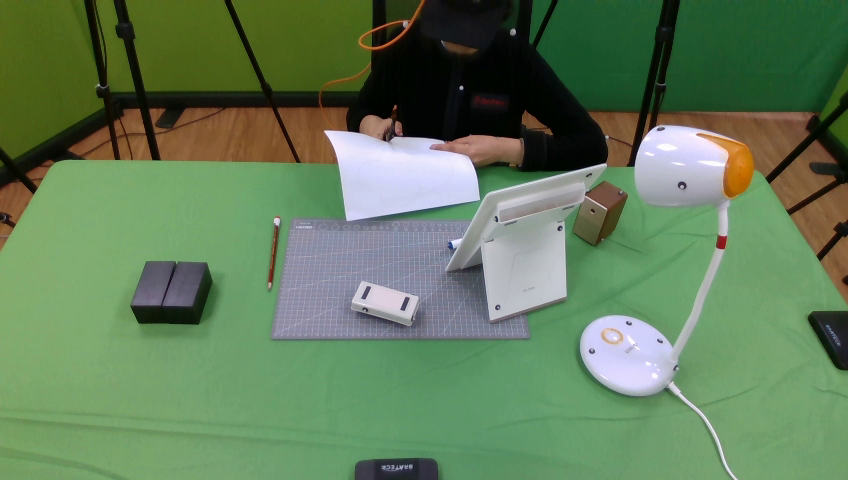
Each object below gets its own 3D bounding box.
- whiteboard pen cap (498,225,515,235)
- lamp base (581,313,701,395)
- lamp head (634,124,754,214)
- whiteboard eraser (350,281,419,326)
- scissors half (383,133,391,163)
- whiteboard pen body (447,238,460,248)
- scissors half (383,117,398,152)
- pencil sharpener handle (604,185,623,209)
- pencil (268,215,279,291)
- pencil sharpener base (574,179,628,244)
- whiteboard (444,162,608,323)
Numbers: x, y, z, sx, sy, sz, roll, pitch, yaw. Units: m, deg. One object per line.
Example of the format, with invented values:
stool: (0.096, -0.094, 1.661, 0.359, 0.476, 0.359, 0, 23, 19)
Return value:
whiteboard pen cap: (0.166, -0.019, 1.222, 0.033, 0.018, 0.018, -15, 49, -19)
lamp base: (0.361, 0.144, 0.972, 0.178, 0.181, 0.160, 34, 53, 23)
lamp head: (0.351, -0.089, 0.775, 0.112, 0.113, 0.122, -30, 30, -28)
whiteboard eraser: (-0.069, 0.113, 1.065, 0.112, 0.042, 0.055, 14, 46, 9)
scissors half: (-0.080, -0.203, 1.312, 0.013, 0.175, 0.040, 16, 80, -1)
whiteboard pen body: (0.112, -0.006, 1.204, 0.141, 0.017, 0.017, -14, 49, -18)
scissors half: (-0.074, -0.226, 1.307, 0.013, 0.040, 0.174, 12, 33, 0)
pencil sharpener handle: (0.390, -0.091, 1.235, 0.030, 0.068, 0.036, -33, 69, -31)
pencil: (-0.291, 0.022, 1.164, 0.012, 0.012, 0.192, -2, 48, -6)
pencil sharpener base: (0.355, -0.057, 1.217, 0.076, 0.107, 0.061, -33, 56, -31)
whiteboard: (0.186, 0.025, 1.029, 0.217, 0.306, 0.143, -14, 68, -18)
